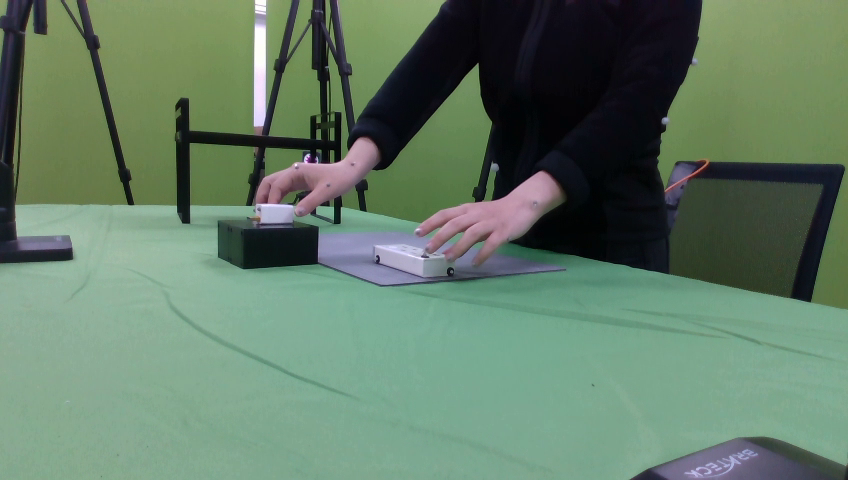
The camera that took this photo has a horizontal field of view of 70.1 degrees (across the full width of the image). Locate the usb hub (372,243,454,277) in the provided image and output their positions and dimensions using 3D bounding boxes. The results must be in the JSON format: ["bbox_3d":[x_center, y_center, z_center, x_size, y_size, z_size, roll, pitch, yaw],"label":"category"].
[{"bbox_3d":[-0.017,0.024,0.776,0.050,0.025,0.124,-4,9,-33],"label":"usb hub"}]

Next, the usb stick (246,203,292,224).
[{"bbox_3d":[-0.206,-0.035,0.801,0.059,0.027,0.021,-8,10,-35],"label":"usb stick"}]
